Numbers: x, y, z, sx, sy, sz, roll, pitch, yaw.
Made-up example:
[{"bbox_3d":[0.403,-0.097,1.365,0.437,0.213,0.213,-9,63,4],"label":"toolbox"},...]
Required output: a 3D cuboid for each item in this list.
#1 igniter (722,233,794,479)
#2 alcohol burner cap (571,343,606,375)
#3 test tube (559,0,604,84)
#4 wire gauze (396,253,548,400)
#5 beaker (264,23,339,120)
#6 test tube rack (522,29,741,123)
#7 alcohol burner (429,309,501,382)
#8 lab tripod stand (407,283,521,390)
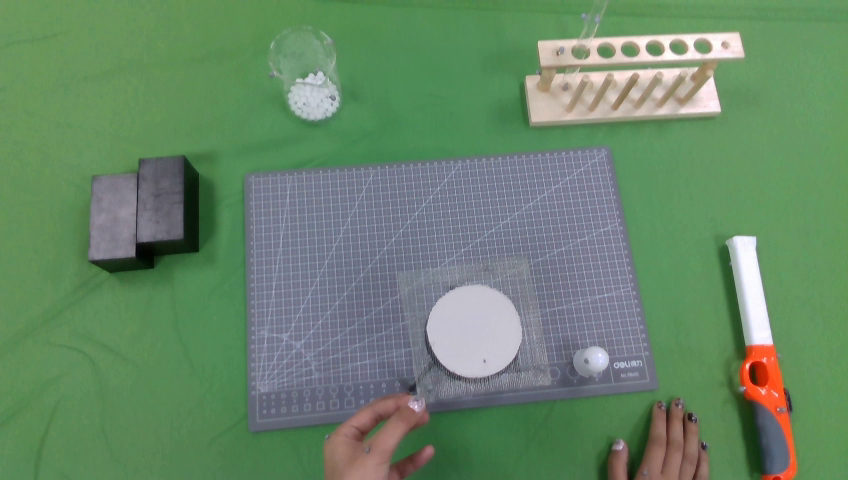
[{"bbox_3d":[0.374,0.125,0.682,0.057,0.025,0.275,2,74,-12],"label":"igniter"},{"bbox_3d":[0.182,0.129,0.662,0.034,0.048,0.033,0,73,-1],"label":"alcohol burner cap"},{"bbox_3d":[0.178,-0.227,0.694,0.017,0.151,0.017,1,69,-2],"label":"test tube"},{"bbox_3d":[0.043,0.077,0.554,0.125,0.011,0.121,-8,75,-1],"label":"wire gauze"},{"bbox_3d":[-0.138,-0.192,0.715,0.074,0.100,0.083,-35,78,-11],"label":"beaker"},{"bbox_3d":[0.250,-0.199,0.741,0.242,0.085,0.066,-4,74,-3],"label":"test tube rack"},{"bbox_3d":[0.044,0.106,0.626,0.078,0.119,0.077,1,72,-3],"label":"alcohol burner"},{"bbox_3d":[0.040,0.100,0.617,0.148,0.132,0.147,0,73,0],"label":"lab tripod stand"}]
